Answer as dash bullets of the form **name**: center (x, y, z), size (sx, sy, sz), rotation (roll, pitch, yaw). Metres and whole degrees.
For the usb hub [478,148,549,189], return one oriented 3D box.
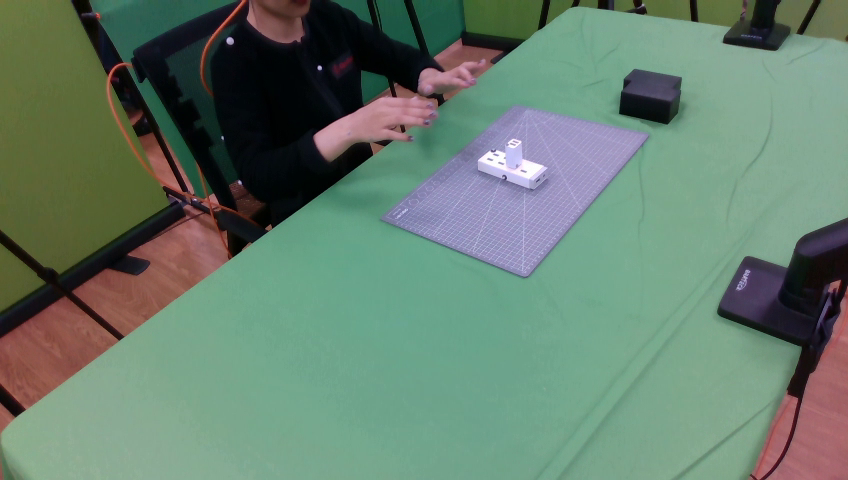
- **usb hub**: center (0.161, -0.131, 1.099), size (0.124, 0.025, 0.049), rotation (26, 51, 34)

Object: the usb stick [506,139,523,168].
- **usb stick**: center (0.160, -0.148, 1.074), size (0.021, 0.059, 0.027), rotation (24, 48, 33)
